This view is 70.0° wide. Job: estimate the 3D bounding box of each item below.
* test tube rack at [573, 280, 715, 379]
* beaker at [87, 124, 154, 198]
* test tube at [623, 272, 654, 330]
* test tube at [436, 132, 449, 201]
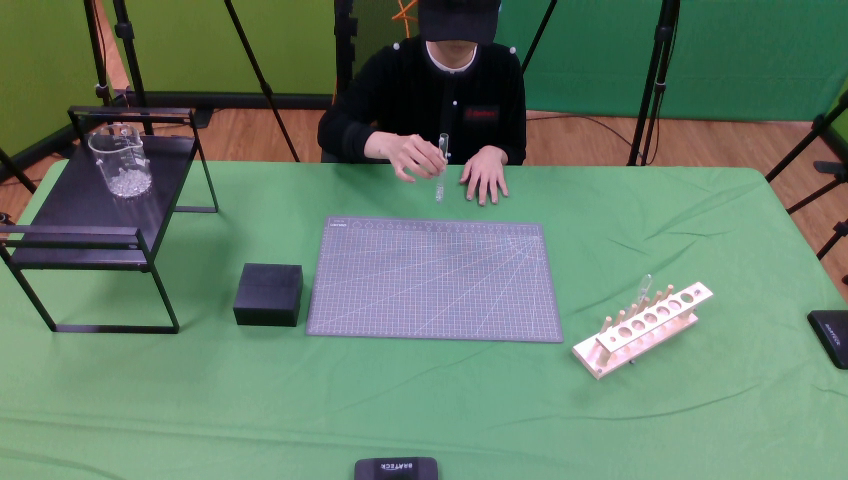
[{"bbox_3d":[0.378,0.140,1.038,0.242,0.085,0.066,-22,51,-23],"label":"test tube rack"},{"bbox_3d":[-0.482,-0.124,0.978,0.084,0.101,0.073,9,46,4],"label":"beaker"},{"bbox_3d":[0.356,0.104,1.010,0.017,0.151,0.017,1,46,-1],"label":"test tube"},{"bbox_3d":[0.033,-0.129,1.097,0.017,0.151,0.017,1,44,-1],"label":"test tube"}]
